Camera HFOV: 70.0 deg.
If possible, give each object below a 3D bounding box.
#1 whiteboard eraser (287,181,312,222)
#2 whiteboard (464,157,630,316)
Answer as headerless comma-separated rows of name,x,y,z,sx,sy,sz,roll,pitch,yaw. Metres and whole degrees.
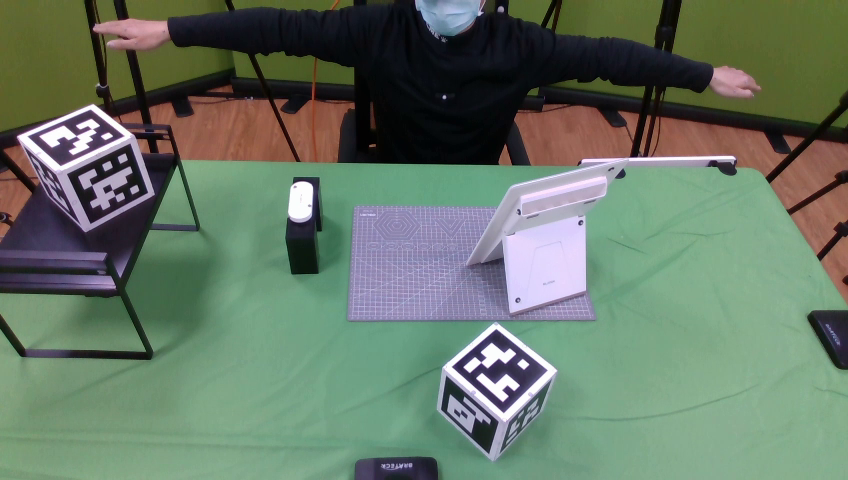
whiteboard eraser,-0.227,-0.071,1.111,0.041,0.019,0.100,-2,46,-4
whiteboard,0.224,0.014,1.043,0.217,0.306,0.143,-14,68,-17
